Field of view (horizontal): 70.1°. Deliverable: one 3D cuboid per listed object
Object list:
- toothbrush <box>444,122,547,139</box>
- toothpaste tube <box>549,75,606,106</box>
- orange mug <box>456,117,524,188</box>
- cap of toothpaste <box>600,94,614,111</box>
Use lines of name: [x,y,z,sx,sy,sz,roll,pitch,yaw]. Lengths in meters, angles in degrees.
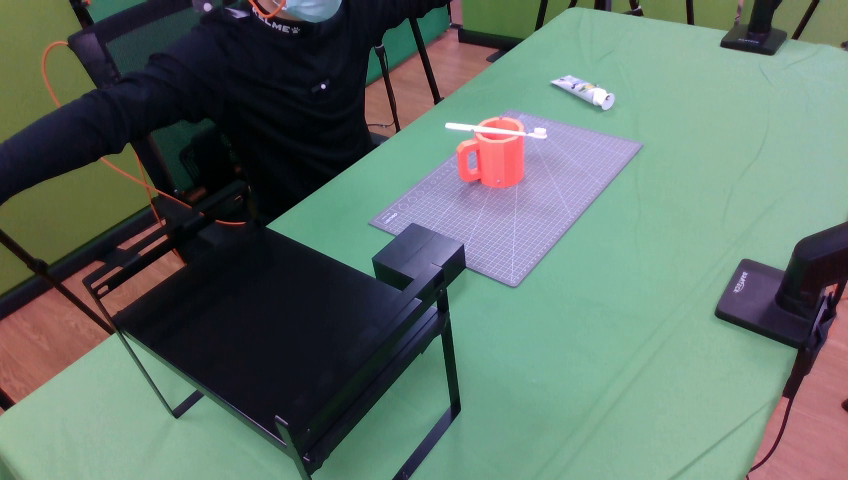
toothbrush: [0.121,-0.190,1.034,0.181,0.017,0.014,10,46,18]
toothpaste tube: [0.339,-0.324,1.299,0.055,0.034,0.163,-16,38,-21]
orange mug: [0.117,-0.152,1.071,0.127,0.101,0.083,-14,41,-14]
cap of toothpaste: [0.373,-0.283,1.238,0.037,0.037,0.011,-28,46,-23]
